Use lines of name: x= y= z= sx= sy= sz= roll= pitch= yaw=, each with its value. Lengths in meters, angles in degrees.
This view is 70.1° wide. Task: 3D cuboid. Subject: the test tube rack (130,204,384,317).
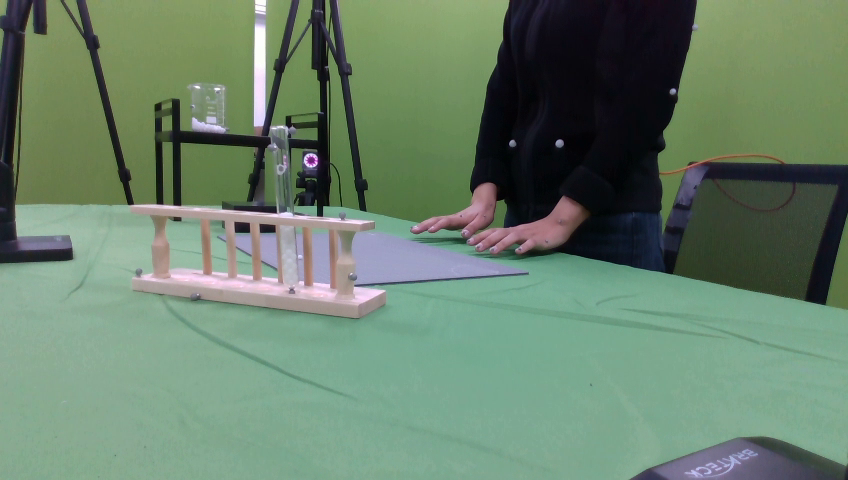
test tube rack: x=-0.163 y=0.013 z=0.589 sx=0.242 sy=0.085 sz=0.067 roll=5 pitch=8 yaw=17

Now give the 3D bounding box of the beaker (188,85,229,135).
beaker: x=-0.457 y=-0.275 z=1.283 sx=0.084 sy=0.100 sz=0.073 roll=-5 pitch=9 yaw=-40

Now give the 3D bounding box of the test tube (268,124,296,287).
test tube: x=-0.131 y=-0.030 z=0.557 sx=0.017 sy=0.150 sz=0.017 roll=-3 pitch=6 yaw=1
